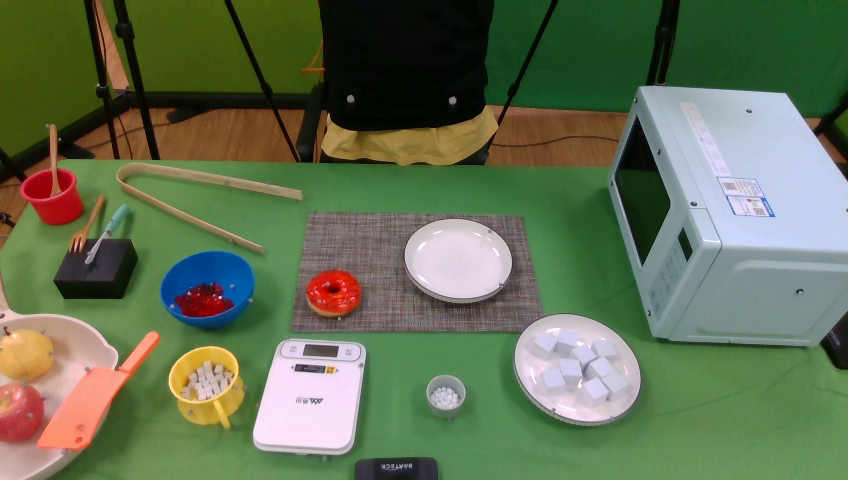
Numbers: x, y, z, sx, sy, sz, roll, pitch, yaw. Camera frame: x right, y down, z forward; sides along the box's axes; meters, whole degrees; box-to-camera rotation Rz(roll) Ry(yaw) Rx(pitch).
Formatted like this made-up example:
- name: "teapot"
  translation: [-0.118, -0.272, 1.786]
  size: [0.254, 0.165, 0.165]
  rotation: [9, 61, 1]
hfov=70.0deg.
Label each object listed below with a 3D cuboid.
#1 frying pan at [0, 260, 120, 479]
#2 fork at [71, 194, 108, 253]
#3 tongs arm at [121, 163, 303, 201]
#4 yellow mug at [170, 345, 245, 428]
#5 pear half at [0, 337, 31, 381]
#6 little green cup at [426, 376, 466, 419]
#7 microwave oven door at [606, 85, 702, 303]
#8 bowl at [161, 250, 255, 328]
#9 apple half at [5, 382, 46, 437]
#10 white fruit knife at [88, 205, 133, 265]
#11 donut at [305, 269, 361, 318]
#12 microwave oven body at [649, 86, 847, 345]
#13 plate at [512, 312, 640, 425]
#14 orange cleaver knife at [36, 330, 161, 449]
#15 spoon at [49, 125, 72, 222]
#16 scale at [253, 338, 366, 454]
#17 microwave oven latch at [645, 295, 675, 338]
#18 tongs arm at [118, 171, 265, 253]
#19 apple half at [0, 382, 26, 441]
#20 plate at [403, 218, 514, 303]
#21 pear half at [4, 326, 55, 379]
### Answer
- name: "frying pan"
  translation: [-0.647, 0.164, 0.936]
  size: [0.307, 0.103, 0.485]
  rotation: [-19, 58, -22]
- name: "fork"
  translation: [-0.634, -0.036, 1.158]
  size: [0.028, 0.019, 0.206]
  rotation: [-8, 32, -8]
- name: "tongs arm"
  translation: [-0.443, -0.114, 1.266]
  size: [0.384, 0.026, 0.050]
  rotation: [12, 50, 8]
- name: "yellow mug"
  translation: [-0.322, 0.230, 0.922]
  size: [0.100, 0.064, 0.130]
  rotation: [-24, 53, -25]
- name: "pear half"
  translation: [-0.632, 0.185, 0.920]
  size: [0.070, 0.088, 0.031]
  rotation: [30, 50, 20]
- name: "little green cup"
  translation: [0.033, 0.248, 0.950]
  size: [0.061, 0.039, 0.061]
  rotation: [2, 46, -2]
- name: "microwave oven door"
  translation: [0.422, -0.094, 1.140]
  size: [0.039, 0.245, 0.353]
  rotation: [2, 46, -1]
- name: "bowl"
  translation: [-0.362, 0.098, 1.039]
  size: [0.151, 0.077, 0.150]
  rotation: [2, 45, -2]
- name: "apple half"
  translation: [-0.567, 0.244, 0.877]
  size: [0.033, 0.082, 0.080]
  rotation: [-9, 47, -7]
- name: "white fruit knife"
  translation: [-0.584, -0.013, 1.129]
  size: [0.016, 0.027, 0.206]
  rotation: [0, 32, -5]
- name: "donut"
  translation: [-0.160, 0.094, 1.075]
  size: [0.099, 0.048, 0.098]
  rotation: [3, 45, -3]
- name: "microwave oven body"
  translation: [0.567, -0.053, 1.119]
  size: [0.326, 0.261, 0.439]
  rotation: [2, 45, -1]
- name: "plate"
  translation: [0.246, 0.213, 0.999]
  size: [0.208, 0.039, 0.206]
  rotation: [2, 46, -2]
- name: "orange cleaver knife"
  translation: [-0.466, 0.210, 0.880]
  size: [0.077, 0.012, 0.210]
  rotation: [15, 46, 9]
- name: "spoon"
  translation: [-0.718, -0.131, 1.189]
  size: [0.041, 0.021, 0.193]
  rotation: [-4, 90, -6]
- name: "scale"
  translation: [-0.175, 0.236, 0.951]
  size: [0.149, 0.032, 0.199]
  rotation: [4, 45, 0]
- name: "microwave oven latch"
  translation: [0.411, 0.134, 1.061]
  size: [0.030, 0.029, 0.078]
  rotation: [3, 45, 0]
- name: "tongs arm"
  translation: [-0.472, -0.056, 1.210]
  size: [0.386, 0.028, 0.028]
  rotation: [23, 56, 18]
- name: "apple half"
  translation: [-0.605, 0.250, 0.871]
  size: [0.053, 0.075, 0.080]
  rotation: [-9, 51, -7]
- name: "plate"
  translation: [0.064, 0.042, 1.146]
  size: [0.209, 0.038, 0.208]
  rotation: [2, 46, -2]
- name: "pear half"
  translation: [-0.609, 0.159, 0.933]
  size: [0.076, 0.110, 0.056]
  rotation: [31, 51, 20]
